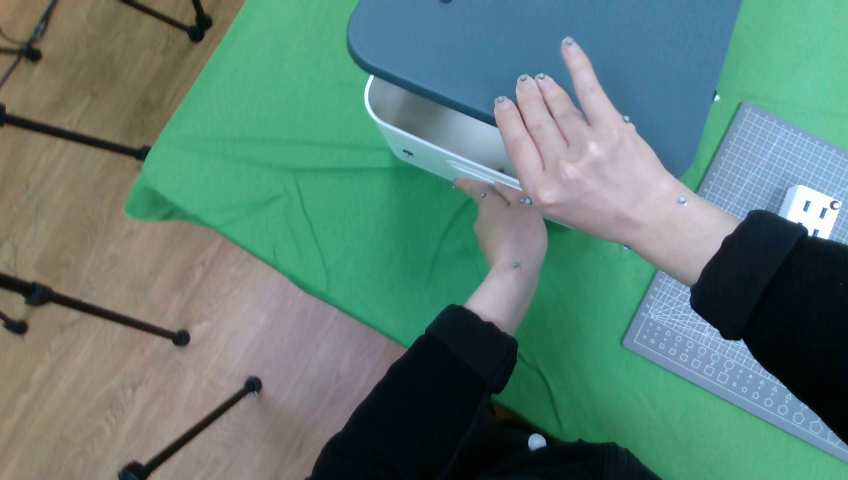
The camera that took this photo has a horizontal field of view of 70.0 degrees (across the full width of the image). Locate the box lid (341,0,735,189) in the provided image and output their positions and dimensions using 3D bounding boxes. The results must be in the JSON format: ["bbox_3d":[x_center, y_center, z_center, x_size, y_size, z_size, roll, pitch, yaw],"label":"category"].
[{"bbox_3d":[0.120,-0.232,0.480,0.263,0.015,0.370,23,70,3],"label":"box lid"}]

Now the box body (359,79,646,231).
[{"bbox_3d":[0.123,-0.214,0.596,0.254,0.161,0.363,22,85,3],"label":"box body"}]

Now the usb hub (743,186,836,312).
[{"bbox_3d":[0.383,0.009,0.635,0.049,0.025,0.125,23,85,3],"label":"usb hub"}]
